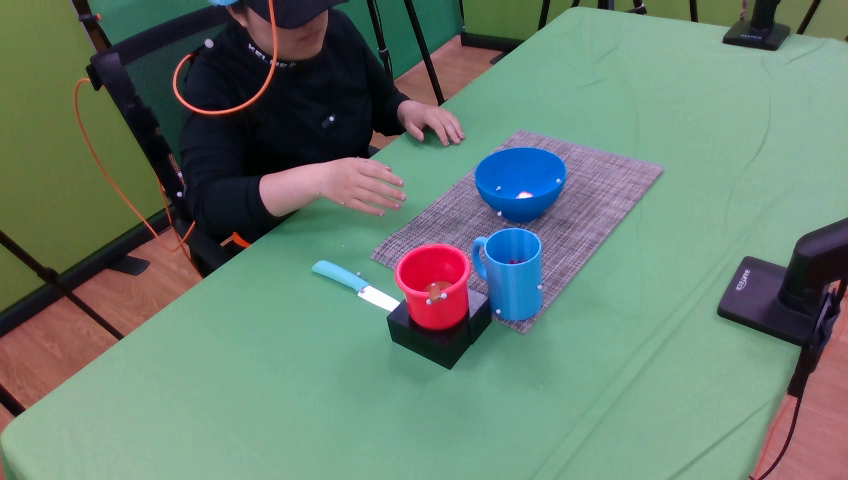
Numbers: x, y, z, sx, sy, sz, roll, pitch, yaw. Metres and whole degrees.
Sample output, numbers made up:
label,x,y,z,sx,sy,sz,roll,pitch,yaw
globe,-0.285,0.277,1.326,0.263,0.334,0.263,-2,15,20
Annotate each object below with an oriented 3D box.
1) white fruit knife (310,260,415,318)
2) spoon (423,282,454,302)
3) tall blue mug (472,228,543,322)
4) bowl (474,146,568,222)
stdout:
label,x,y,z,sx,sy,sz,roll,pitch,yaw
white fruit knife,-0.094,0.074,0.920,0.206,0.016,0.027,24,77,31
spoon,0.015,0.062,0.733,0.041,0.021,0.194,-5,-4,3
tall blue mug,0.110,0.046,0.832,0.107,0.108,0.077,6,43,18
bowl,0.161,-0.083,1.001,0.151,0.077,0.150,-5,40,5
